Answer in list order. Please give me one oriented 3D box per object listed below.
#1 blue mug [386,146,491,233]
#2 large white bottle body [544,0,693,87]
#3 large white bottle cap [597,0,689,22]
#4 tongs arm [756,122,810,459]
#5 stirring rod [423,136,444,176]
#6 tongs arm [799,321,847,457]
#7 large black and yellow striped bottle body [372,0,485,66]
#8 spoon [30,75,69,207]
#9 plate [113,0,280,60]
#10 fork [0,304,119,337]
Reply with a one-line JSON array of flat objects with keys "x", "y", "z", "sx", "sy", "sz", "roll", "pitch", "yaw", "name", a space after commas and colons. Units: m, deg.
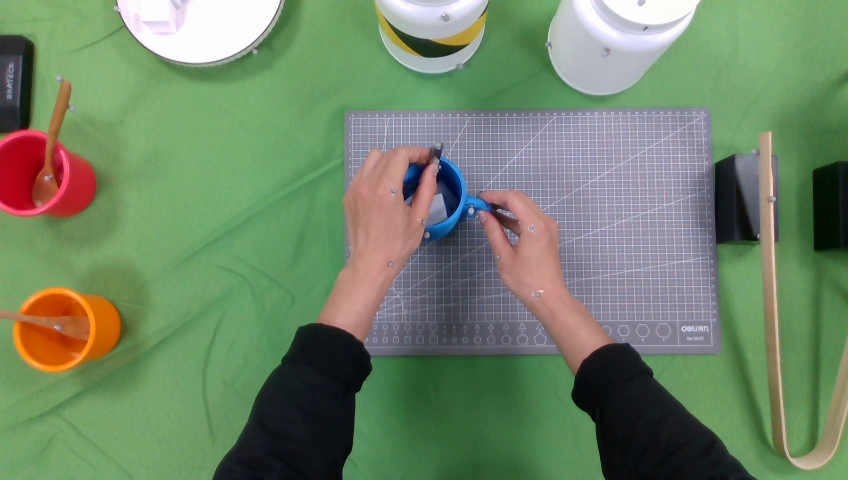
[{"x": 0.019, "y": -0.051, "z": 0.687, "sx": 0.116, "sy": 0.106, "sz": 0.082, "roll": 10, "pitch": 86, "yaw": 1, "name": "blue mug"}, {"x": 0.211, "y": -0.259, "z": 0.663, "sx": 0.130, "sy": 0.185, "sz": 0.130, "roll": 0, "pitch": 85, "yaw": 0, "name": "large white bottle body"}, {"x": 0.211, "y": -0.267, "z": 0.579, "sx": 0.115, "sy": 0.018, "sz": 0.114, "roll": 0, "pitch": 85, "yaw": 0, "name": "large white bottle cap"}, {"x": 0.404, "y": 0.061, "z": 0.680, "sx": 0.051, "sy": 0.026, "sz": 0.385, "roll": -5, "pitch": 98, "yaw": -3, "name": "tongs arm"}, {"x": 0.008, "y": -0.085, "z": 0.634, "sx": 0.014, "sy": 0.176, "sz": 0.006, "roll": -32, "pitch": 89, "yaw": -4, "name": "stirring rod"}, {"x": 0.486, "y": 0.061, "z": 0.682, "sx": 0.028, "sy": 0.027, "sz": 0.388, "roll": 8, "pitch": 98, "yaw": -7, "name": "tongs arm"}, {"x": 0.005, "y": -0.284, "z": 0.666, "sx": 0.131, "sy": 0.184, "sz": 0.130, "roll": 0, "pitch": 85, "yaw": 1, "name": "large black and yellow striped bottle body"}, {"x": -0.415, "y": -0.105, "z": 0.675, "sx": 0.041, "sy": 0.021, "sz": 0.194, "roll": 45, "pitch": 131, "yaw": 6, "name": "spoon"}, {"x": -0.272, "y": -0.318, "z": 0.742, "sx": 0.208, "sy": 0.039, "sz": 0.207, "roll": 0, "pitch": 86, "yaw": 0, "name": "plate"}, {"x": -0.442, "y": 0.078, "z": 0.659, "sx": 0.209, "sy": 0.018, "sz": 0.028, "roll": 21, "pitch": 85, "yaw": -42, "name": "fork"}]
